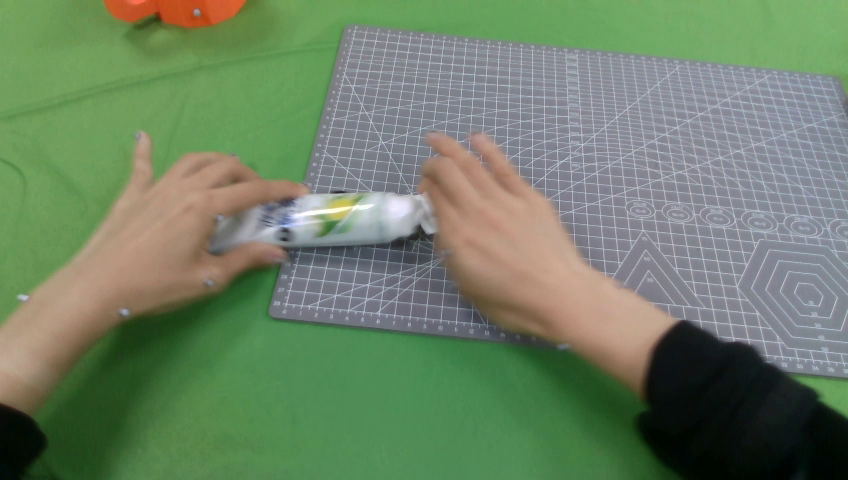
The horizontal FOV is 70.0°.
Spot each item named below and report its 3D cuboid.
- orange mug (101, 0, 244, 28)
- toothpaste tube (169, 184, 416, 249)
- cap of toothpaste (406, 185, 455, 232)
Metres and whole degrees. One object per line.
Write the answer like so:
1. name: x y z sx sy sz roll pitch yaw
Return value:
1. orange mug: -0.221 -0.242 0.515 0.126 0.101 0.083 -35 65 -29
2. toothpaste tube: -0.088 -0.017 0.414 0.165 0.035 0.054 1 53 4
3. cap of toothpaste: 0.004 -0.020 0.418 0.037 0.037 0.011 21 35 11
